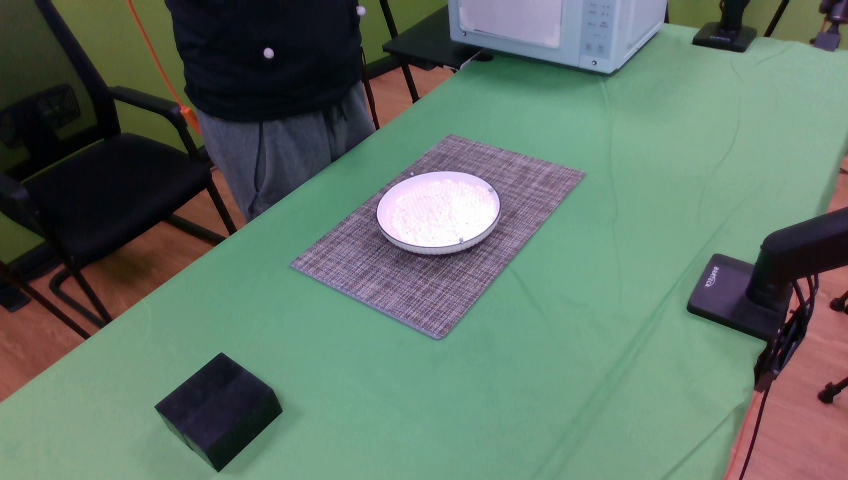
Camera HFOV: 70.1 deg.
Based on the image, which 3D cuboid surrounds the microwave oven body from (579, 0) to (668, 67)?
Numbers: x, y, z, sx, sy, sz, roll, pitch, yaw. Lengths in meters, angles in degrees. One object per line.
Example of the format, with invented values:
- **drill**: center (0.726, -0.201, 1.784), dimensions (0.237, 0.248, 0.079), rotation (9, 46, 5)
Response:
- **microwave oven body**: center (0.325, -0.609, 1.437), dimensions (0.438, 0.261, 0.327), rotation (23, 50, 30)

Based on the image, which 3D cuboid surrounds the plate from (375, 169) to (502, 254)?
- **plate**: center (0.024, -0.044, 0.998), dimensions (0.209, 0.038, 0.208), rotation (-4, 41, 4)

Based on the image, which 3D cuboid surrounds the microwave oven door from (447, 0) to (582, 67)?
- **microwave oven door**: center (0.203, -0.544, 1.372), dimensions (0.353, 0.245, 0.039), rotation (23, 49, 29)

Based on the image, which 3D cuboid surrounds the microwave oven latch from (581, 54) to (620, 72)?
- **microwave oven latch**: center (0.386, -0.393, 1.330), dimensions (0.078, 0.029, 0.030), rotation (24, 51, 32)
